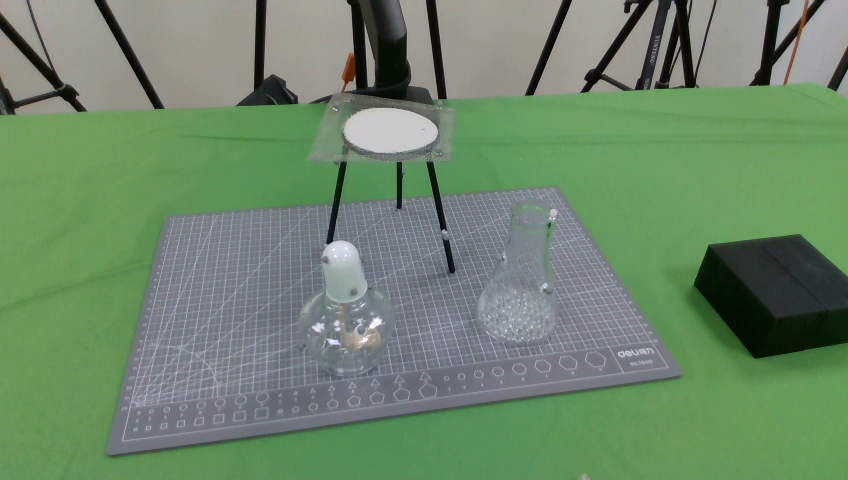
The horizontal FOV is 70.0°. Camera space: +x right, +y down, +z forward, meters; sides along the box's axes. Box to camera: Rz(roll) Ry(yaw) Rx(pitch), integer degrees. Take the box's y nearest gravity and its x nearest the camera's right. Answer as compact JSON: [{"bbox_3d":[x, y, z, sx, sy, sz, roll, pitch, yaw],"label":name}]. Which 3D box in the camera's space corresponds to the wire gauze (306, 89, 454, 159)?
[{"bbox_3d":[-0.034,-0.105,0.548,0.121,0.011,0.124,4,39,1],"label":"wire gauze"}]

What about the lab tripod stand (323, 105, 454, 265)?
[{"bbox_3d":[-0.029,-0.052,0.589,0.148,0.132,0.147,3,37,-2],"label":"lab tripod stand"}]

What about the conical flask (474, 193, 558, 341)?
[{"bbox_3d":[0.084,0.020,0.512,0.075,0.123,0.074,1,38,-1],"label":"conical flask"}]

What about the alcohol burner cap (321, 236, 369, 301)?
[{"bbox_3d":[-0.061,0.019,0.454,0.034,0.048,0.033,-3,42,3],"label":"alcohol burner cap"}]

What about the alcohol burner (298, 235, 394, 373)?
[{"bbox_3d":[-0.062,0.047,0.478,0.078,0.120,0.077,1,36,0],"label":"alcohol burner"}]
